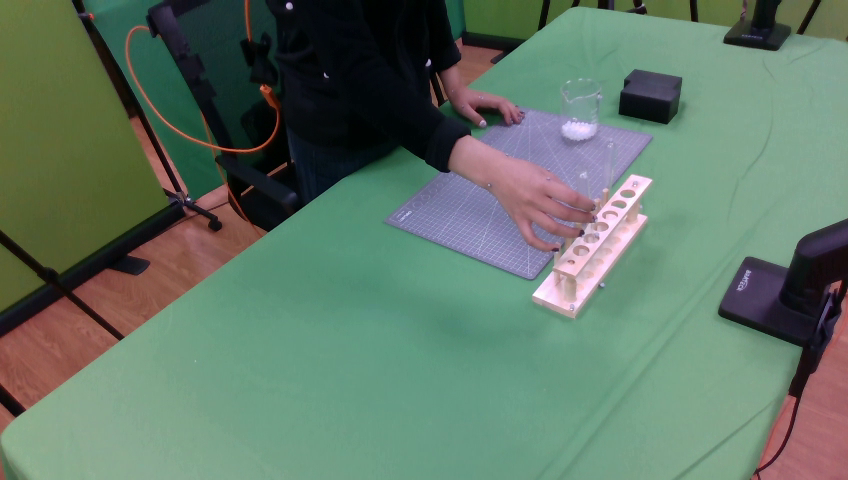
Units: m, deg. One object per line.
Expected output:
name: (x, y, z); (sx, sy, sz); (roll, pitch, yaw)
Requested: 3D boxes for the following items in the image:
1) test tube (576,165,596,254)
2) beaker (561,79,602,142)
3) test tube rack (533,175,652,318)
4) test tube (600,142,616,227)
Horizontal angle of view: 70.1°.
test tube: (0.215, -0.036, 0.799); (0.017, 0.151, 0.017); (-11, 41, 10)
beaker: (0.296, -0.243, 1.150); (0.073, 0.101, 0.084); (22, 50, 32)
test tube rack: (0.251, -0.001, 0.888); (0.066, 0.085, 0.243); (22, 49, 32)
test tube: (0.275, -0.081, 0.908); (0.017, 0.151, 0.017); (-5, 40, 5)
